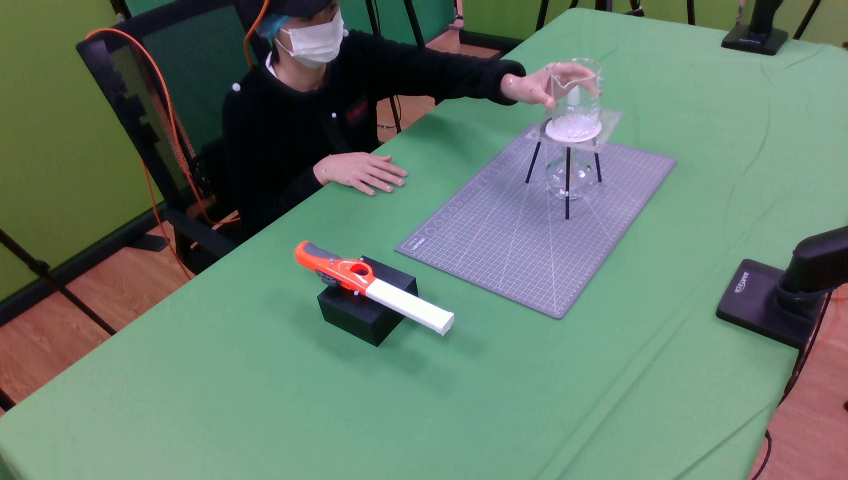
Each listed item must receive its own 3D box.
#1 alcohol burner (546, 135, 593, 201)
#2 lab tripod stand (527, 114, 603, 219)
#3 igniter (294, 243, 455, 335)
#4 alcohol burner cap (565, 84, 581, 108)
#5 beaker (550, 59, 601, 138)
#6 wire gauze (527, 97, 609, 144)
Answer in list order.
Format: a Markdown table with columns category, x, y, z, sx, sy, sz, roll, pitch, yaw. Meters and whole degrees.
| category | x | y | z | sx | sy | sz | roll | pitch | yaw |
| --- | --- | --- | --- | --- | --- | --- | --- | --- | --- |
| alcohol burner | 0.243 | -0.126 | 1.011 | 0.078 | 0.119 | 0.077 | -5 | 42 | 5 |
| lab tripod stand | 0.234 | -0.129 | 1.002 | 0.148 | 0.132 | 0.147 | -6 | 40 | 6 |
| igniter | -0.079 | 0.062 | 0.837 | 0.274 | 0.025 | 0.057 | 22 | 49 | 27 |
| alcohol burner cap | 0.315 | -0.307 | 1.278 | 0.034 | 0.048 | 0.033 | -4 | 42 | 5 |
| beaker | 0.229 | -0.212 | 0.922 | 0.073 | 0.101 | 0.084 | 16 | 46 | 31 |
| wire gauze | 0.225 | -0.187 | 0.945 | 0.121 | 0.011 | 0.124 | 4 | 45 | 12 |
